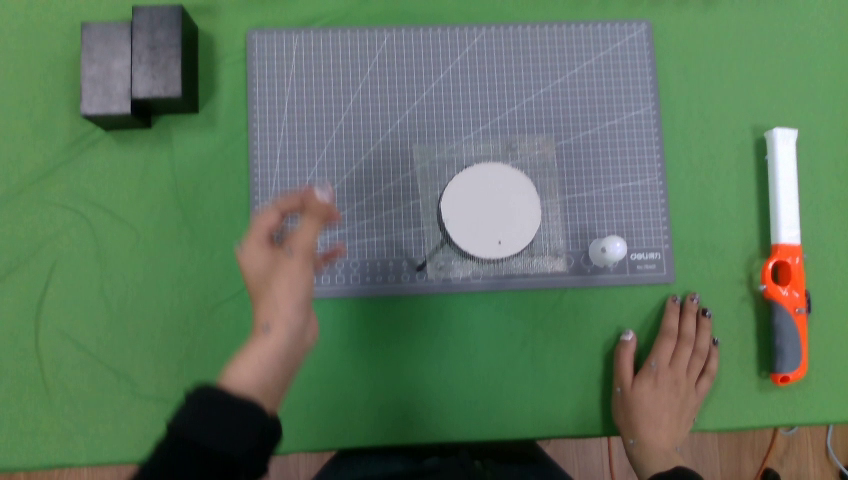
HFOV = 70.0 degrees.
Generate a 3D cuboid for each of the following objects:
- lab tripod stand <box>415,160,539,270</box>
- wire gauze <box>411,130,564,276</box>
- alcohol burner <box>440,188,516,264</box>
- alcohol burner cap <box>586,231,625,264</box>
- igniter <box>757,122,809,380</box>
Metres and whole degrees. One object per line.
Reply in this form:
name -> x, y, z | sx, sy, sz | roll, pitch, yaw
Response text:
lab tripod stand -> 0.051, -0.022, 0.585 | 0.148, 0.132, 0.148 | 0, 83, 0
wire gauze -> 0.055, -0.033, 0.518 | 0.125, 0.011, 0.121 | -4, 83, -3
alcohol burner -> 0.054, -0.017, 0.595 | 0.078, 0.119, 0.077 | 0, 82, -3
alcohol burner cap -> 0.192, 0.007, 0.634 | 0.034, 0.048, 0.034 | 0, 83, -1
igniter -> 0.384, 0.010, 0.651 | 0.057, 0.025, 0.276 | 3, 84, -12
